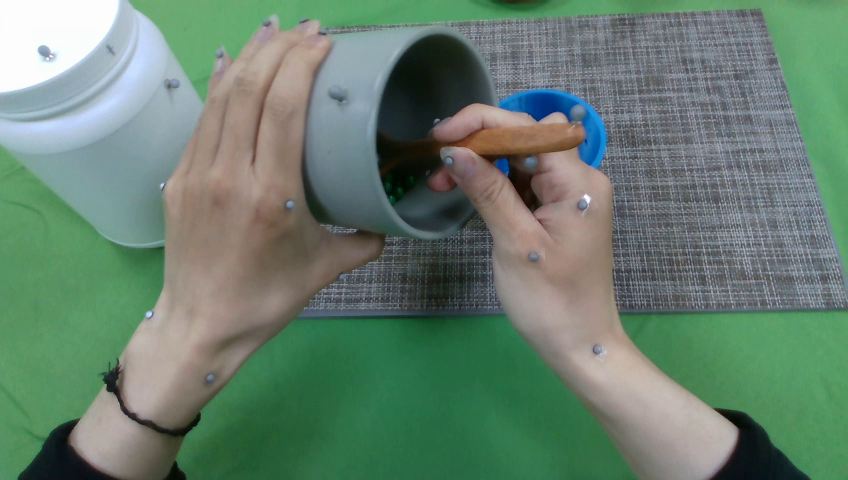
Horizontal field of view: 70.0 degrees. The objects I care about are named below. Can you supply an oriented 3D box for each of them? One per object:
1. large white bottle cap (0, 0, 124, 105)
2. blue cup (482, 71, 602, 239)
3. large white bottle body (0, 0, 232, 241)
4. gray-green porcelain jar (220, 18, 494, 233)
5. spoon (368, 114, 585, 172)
[{"bbox_3d":[-0.246,-0.133,0.376,0.115,0.018,0.114,-2,63,5],"label":"large white bottle cap"},{"bbox_3d":[0.079,-0.049,0.440,0.092,0.101,0.092,-3,62,6],"label":"blue cup"},{"bbox_3d":[-0.238,-0.095,0.451,0.130,0.186,0.129,-2,62,5],"label":"large white bottle body"},{"bbox_3d":[-0.042,-0.063,0.338,0.125,0.107,0.105,10,62,38],"label":"gray-green porcelain jar"},{"bbox_3d":[-0.002,-0.050,0.321,0.192,0.022,0.041,3,80,49],"label":"spoon"}]
